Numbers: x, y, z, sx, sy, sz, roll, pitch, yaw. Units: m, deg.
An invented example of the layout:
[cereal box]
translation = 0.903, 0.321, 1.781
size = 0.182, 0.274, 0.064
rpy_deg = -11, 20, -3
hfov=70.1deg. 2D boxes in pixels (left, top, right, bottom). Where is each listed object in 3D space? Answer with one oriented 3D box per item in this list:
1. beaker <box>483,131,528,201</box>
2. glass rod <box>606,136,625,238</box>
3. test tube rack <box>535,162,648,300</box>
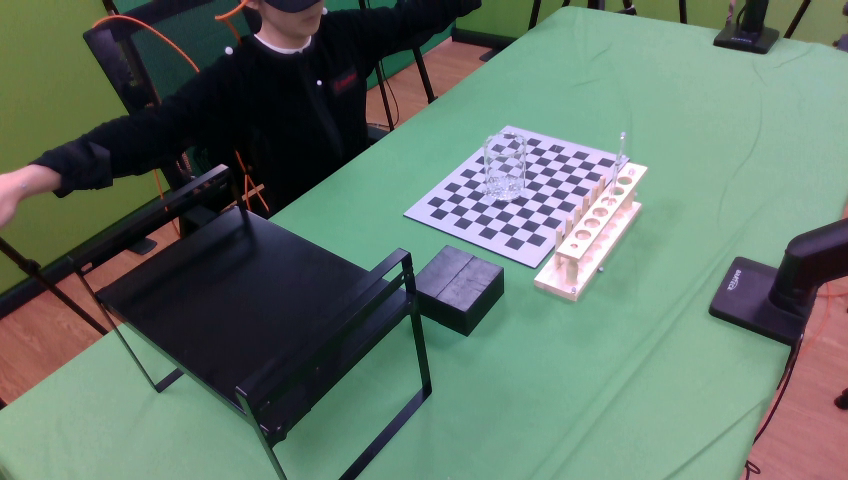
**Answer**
[beaker]
translation = 0.143, -0.126, 1.036
size = 0.073, 0.101, 0.084
rpy_deg = 24, 49, 31
[glass rod]
translation = 0.273, -0.069, 0.864
size = 0.008, 0.201, 0.008
rpy_deg = -5, 48, 6
[test tube rack]
translation = 0.257, -0.024, 0.916
size = 0.066, 0.085, 0.243
rpy_deg = 22, 49, 30
